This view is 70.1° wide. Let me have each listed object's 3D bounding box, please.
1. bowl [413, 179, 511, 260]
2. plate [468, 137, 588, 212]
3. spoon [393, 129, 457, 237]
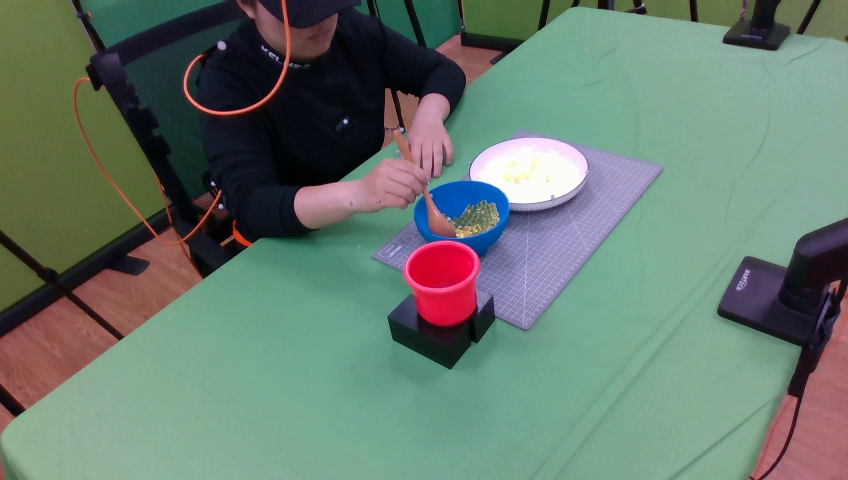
[{"bbox_3d":[0.062,-0.021,0.947,0.151,0.077,0.150,-5,40,5],"label":"bowl"},{"bbox_3d":[0.182,-0.112,1.064,0.207,0.039,0.206,-5,40,5],"label":"plate"},{"bbox_3d":[-0.002,-0.075,0.896,0.041,0.194,0.022,-16,15,33],"label":"spoon"}]
